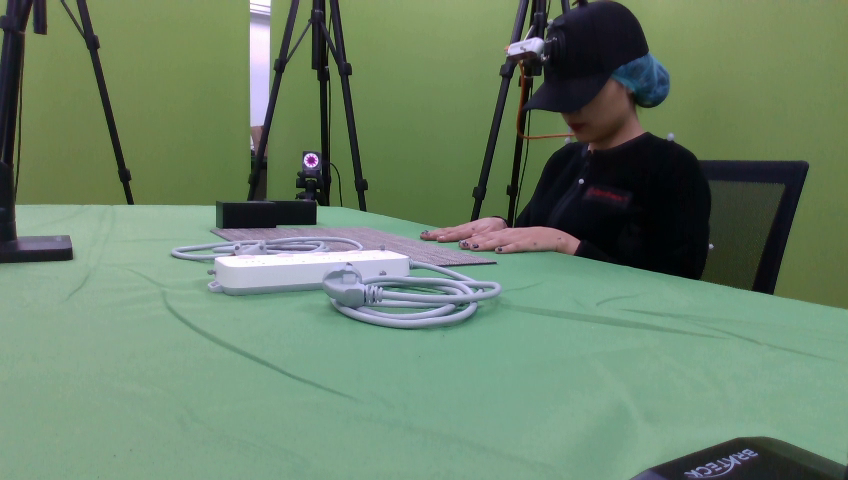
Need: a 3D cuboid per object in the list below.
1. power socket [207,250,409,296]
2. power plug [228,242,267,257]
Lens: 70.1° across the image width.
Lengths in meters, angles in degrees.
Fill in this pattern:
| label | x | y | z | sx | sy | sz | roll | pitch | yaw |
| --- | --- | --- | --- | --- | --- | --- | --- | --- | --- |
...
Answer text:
| label | x | y | z | sx | sy | sz | roll | pitch | yaw |
| --- | --- | --- | --- | --- | --- | --- | --- | --- | --- |
| power socket | -0.119 | 0.033 | 0.668 | 0.228 | 0.032 | 0.072 | -2 | 9 | -31 |
| power plug | -0.217 | 0.024 | 0.738 | 0.053 | 0.035 | 0.072 | -23 | -5 | -9 |
